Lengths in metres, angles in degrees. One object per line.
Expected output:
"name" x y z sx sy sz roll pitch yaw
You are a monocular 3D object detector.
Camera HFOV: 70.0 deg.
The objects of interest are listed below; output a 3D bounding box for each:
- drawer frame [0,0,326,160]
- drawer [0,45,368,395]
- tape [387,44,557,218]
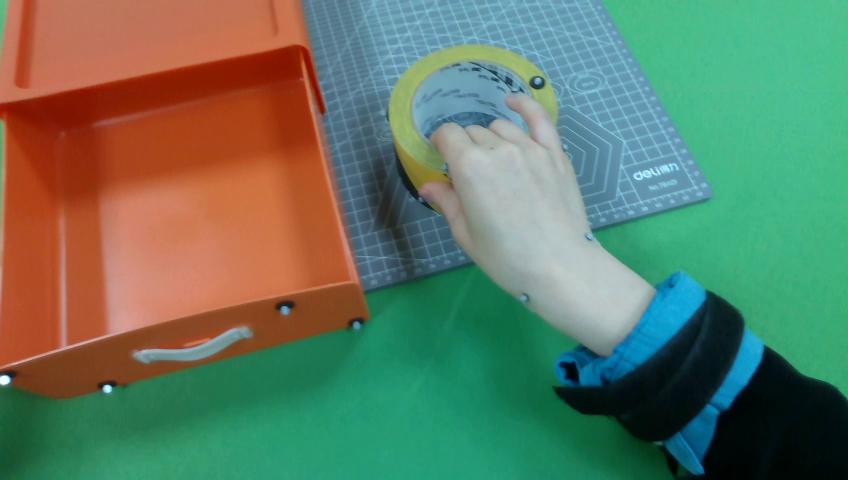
"drawer frame" -0.192 -0.175 0.456 0.202 0.083 0.211 -13 62 -4
"drawer" -0.153 -0.028 0.385 0.194 0.074 0.210 -14 64 -4
"tape" 0.033 -0.074 0.414 0.117 0.053 0.116 -1 63 2
